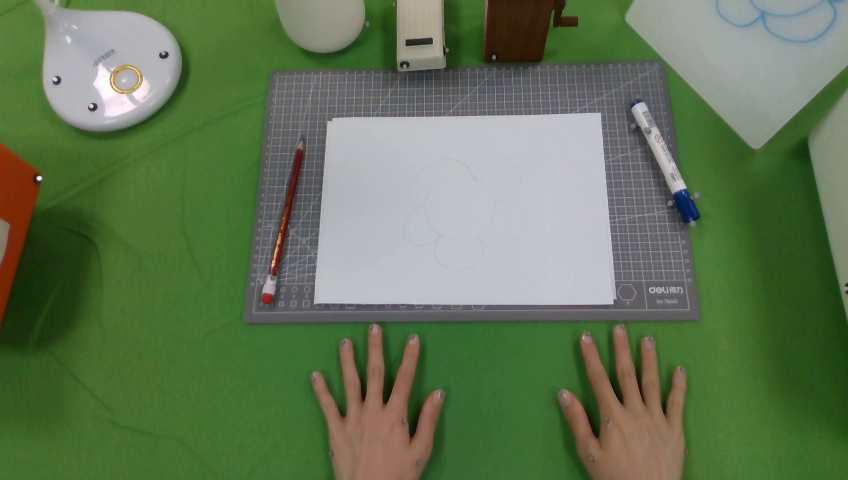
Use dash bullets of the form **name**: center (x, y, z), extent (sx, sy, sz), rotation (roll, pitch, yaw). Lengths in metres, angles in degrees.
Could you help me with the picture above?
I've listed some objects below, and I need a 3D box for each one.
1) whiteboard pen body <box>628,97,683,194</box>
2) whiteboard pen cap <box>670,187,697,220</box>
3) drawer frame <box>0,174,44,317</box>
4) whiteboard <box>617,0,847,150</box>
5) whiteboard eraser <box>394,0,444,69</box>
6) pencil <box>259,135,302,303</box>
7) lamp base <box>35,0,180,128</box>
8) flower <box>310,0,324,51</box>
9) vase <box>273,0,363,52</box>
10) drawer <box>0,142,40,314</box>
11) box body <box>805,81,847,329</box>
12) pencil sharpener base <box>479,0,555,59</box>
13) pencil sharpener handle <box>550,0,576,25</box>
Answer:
- **whiteboard pen body**: center (0.246, -0.090, 0.634), extent (0.017, 0.017, 0.139), rotation (-16, 70, -2)
- **whiteboard pen cap**: center (0.261, -0.038, 0.612), extent (0.018, 0.018, 0.033), rotation (-16, 70, -2)
- **drawer frame**: center (-0.505, 0.006, 0.568), extent (0.213, 0.083, 0.200), rotation (2, 72, 2)
- **whiteboard**: center (0.373, -0.279, 0.578), extent (0.144, 0.307, 0.215), rotation (-26, 69, -26)
- **whiteboard eraser**: center (-0.006, -0.248, 0.695), extent (0.055, 0.042, 0.112), rotation (-2, 70, 1)
- **pencil**: center (-0.148, -0.027, 0.640), extent (0.012, 0.012, 0.193), rotation (6, 70, 6)
- **lamp base**: center (-0.380, -0.234, 0.637), extent (0.178, 0.181, 0.160), rotation (31, 75, 16)
- **flower**: center (-0.123, -0.335, 0.562), extent (0.038, 0.365, 0.043), rotation (-13, 52, -9)
- **vase**: center (-0.125, -0.290, 0.633), extent (0.098, 0.201, 0.097), rotation (-1, 70, 4)
- **drawer**: center (-0.500, 0.004, 0.566), extent (0.211, 0.074, 0.193), rotation (2, 72, 4)
- **box body**: center (0.511, 0.010, 0.513), extent (0.254, 0.161, 0.361), rotation (-1, 71, 3)
- **pencil sharpener base**: center (0.100, -0.251, 0.656), extent (0.076, 0.108, 0.061), rotation (2, 70, 4)
- **pencil sharpener handle**: center (0.150, -0.253, 0.641), extent (0.030, 0.068, 0.035), rotation (2, 69, 4)
